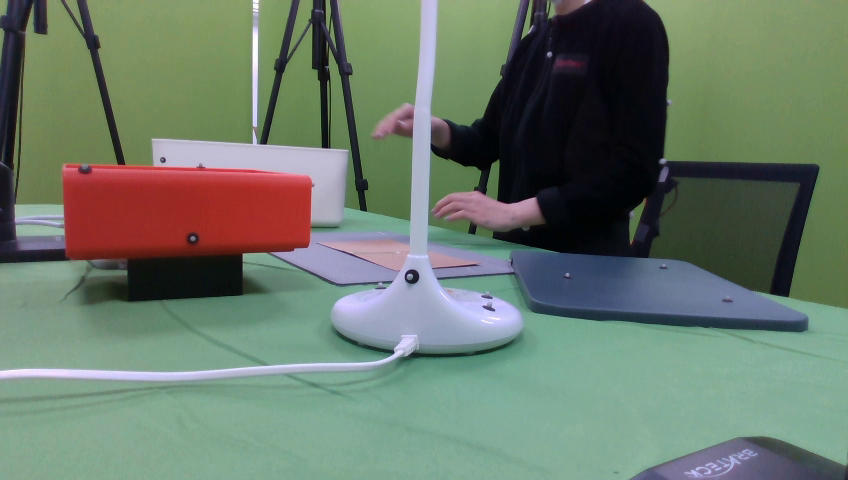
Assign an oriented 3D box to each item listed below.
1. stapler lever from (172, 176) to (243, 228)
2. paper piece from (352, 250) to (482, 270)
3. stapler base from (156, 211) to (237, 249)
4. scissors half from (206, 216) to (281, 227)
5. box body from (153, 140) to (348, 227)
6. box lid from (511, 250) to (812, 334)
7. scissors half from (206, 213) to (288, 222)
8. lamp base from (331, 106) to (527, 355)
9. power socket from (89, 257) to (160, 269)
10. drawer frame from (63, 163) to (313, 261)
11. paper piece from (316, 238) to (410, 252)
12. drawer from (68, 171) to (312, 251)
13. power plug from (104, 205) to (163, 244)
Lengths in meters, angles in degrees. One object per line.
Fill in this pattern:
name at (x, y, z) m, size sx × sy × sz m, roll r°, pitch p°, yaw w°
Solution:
stapler lever at (-0.217, -0.041, 0.618) m, size 0.027 × 0.040 × 0.118 m, roll 19°, pitch 11°, yaw -2°
paper piece at (-0.013, 0.026, 0.842) m, size 0.139 × 0.008 × 0.135 m, roll 0°, pitch 11°, yaw -32°
stapler base at (-0.227, -0.017, 0.624) m, size 0.041 × 0.024 × 0.130 m, roll 19°, pitch 10°, yaw -2°
scissors half at (-0.366, -0.040, 1.214) m, size 0.174 × 0.013 × 0.040 m, roll 6°, pitch 21°, yaw 21°
box body at (-0.357, -0.119, 1.264) m, size 0.365 × 0.160 × 0.253 m, roll 0°, pitch 7°, yaw -18°
box lid at (0.246, 0.051, 0.733) m, size 0.263 × 0.015 × 0.371 m, roll 4°, pitch 7°, yaw 4°
scissors half at (-0.361, -0.046, 1.233) m, size 0.175 × 0.013 × 0.040 m, roll 1°, pitch 15°, yaw 4°
lamp base at (0.006, -0.012, 0.478) m, size 0.161 × 0.180 × 0.179 m, roll 2°, pitch 10°, yaw 2°
power socket at (-0.409, 0.004, 0.793) m, size 0.072 × 0.032 × 0.225 m, roll -2°, pitch 8°, yaw -38°
drawer frame at (-0.248, -0.036, 0.626) m, size 0.215 × 0.082 × 0.200 m, roll -3°, pitch 9°, yaw -31°
paper piece at (-0.083, 0.008, 0.952) m, size 0.136 × 0.004 × 0.134 m, roll -2°, pitch 9°, yaw -31°
drawer at (-0.247, -0.036, 0.629) m, size 0.213 × 0.073 × 0.193 m, roll -2°, pitch 9°, yaw -30°
power plug at (-0.390, -0.021, 0.815) m, size 0.073 × 0.052 × 0.035 m, roll -1°, pitch 8°, yaw -28°
